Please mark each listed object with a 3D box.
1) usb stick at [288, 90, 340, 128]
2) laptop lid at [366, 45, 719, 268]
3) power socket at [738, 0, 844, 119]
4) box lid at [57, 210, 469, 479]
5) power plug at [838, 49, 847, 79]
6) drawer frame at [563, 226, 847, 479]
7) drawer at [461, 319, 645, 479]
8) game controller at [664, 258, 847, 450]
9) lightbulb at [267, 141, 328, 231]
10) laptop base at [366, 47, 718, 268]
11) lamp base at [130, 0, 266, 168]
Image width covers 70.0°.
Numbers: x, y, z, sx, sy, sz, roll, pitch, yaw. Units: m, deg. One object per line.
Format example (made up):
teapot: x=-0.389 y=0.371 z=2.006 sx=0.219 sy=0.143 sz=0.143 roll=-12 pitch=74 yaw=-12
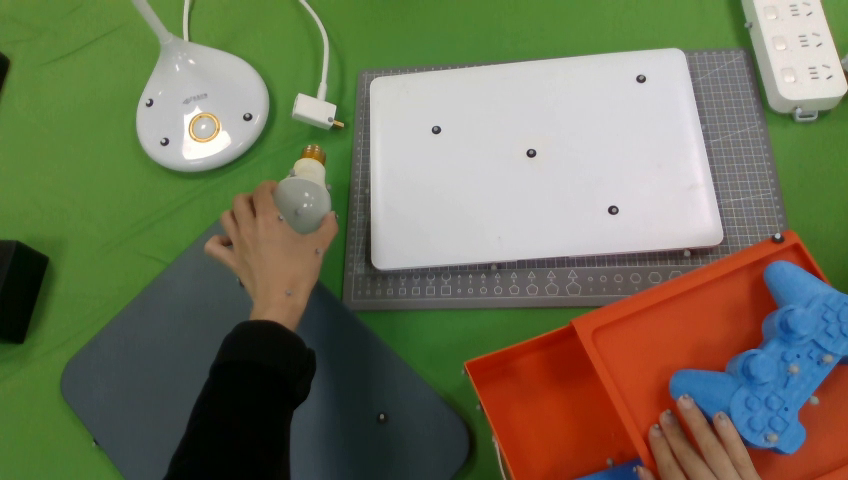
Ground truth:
usb stick: x=-0.123 y=-0.147 z=0.690 sx=0.059 sy=0.021 sz=0.027 roll=19 pitch=74 yaw=-22
laptop lid: x=0.112 y=-0.093 z=0.643 sx=0.356 sy=0.013 sz=0.240 roll=-3 pitch=71 yaw=5
power socket: x=0.400 y=-0.240 z=0.674 sx=0.072 sy=0.033 sz=0.225 roll=-3 pitch=68 yaw=4
box lid: x=-0.168 y=0.158 z=0.595 sx=0.369 sy=0.015 sz=0.263 roll=40 pitch=78 yaw=17
power plug: x=0.474 y=-0.195 z=0.645 sx=0.073 sy=0.053 sz=0.035 roll=-20 pitch=63 yaw=-20
drawer frame: x=0.257 y=0.121 z=0.522 sx=0.213 sy=0.083 sz=0.200 roll=-23 pitch=68 yaw=-2
drawer: x=0.162 y=0.160 z=0.522 sx=0.212 sy=0.074 sz=0.193 roll=-21 pitch=67 yaw=-1
game controller: x=0.276 y=0.090 z=0.477 sx=0.155 sy=0.052 sz=0.096 roll=-44 pitch=74 yaw=-9
lightbulb: x=-0.125 y=-0.059 z=0.621 sx=0.059 sy=0.060 sz=0.107 roll=2 pitch=57 yaw=8
laptop base: x=0.113 y=-0.091 z=0.655 sx=0.354 sy=0.023 sz=0.234 roll=-4 pitch=72 yaw=5
lamp base: x=-0.281 y=-0.195 z=0.651 sx=0.160 sy=0.182 sz=0.177 roll=-29 pitch=65 yaw=-5
